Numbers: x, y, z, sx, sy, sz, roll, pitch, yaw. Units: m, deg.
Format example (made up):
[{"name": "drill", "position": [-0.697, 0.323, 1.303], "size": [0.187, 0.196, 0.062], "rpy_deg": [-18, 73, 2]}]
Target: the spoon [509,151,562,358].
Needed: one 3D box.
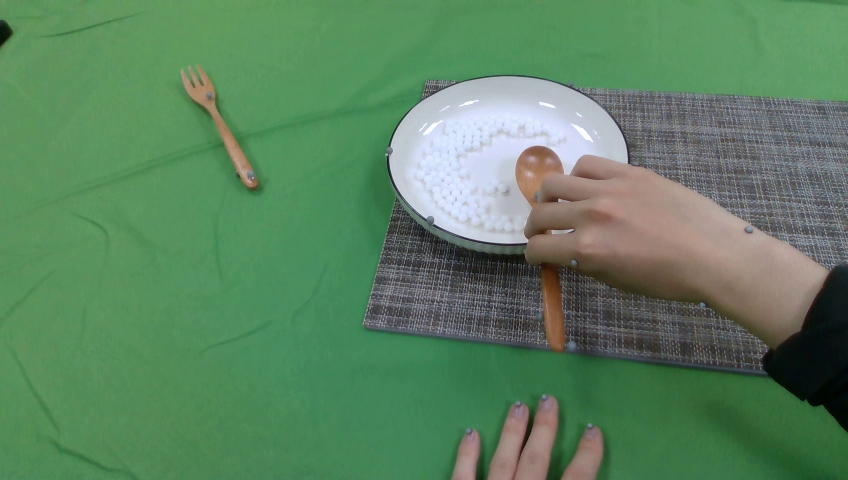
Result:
[{"name": "spoon", "position": [0.089, 0.002, 0.461], "size": [0.041, 0.022, 0.192], "rpy_deg": [3, 48, 1]}]

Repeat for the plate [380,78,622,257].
[{"name": "plate", "position": [0.066, -0.065, 0.537], "size": [0.207, 0.039, 0.205], "rpy_deg": [-2, 52, 3]}]

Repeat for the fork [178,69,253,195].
[{"name": "fork", "position": [-0.210, -0.113, 0.610], "size": [0.028, 0.019, 0.205], "rpy_deg": [-22, 52, -20]}]
